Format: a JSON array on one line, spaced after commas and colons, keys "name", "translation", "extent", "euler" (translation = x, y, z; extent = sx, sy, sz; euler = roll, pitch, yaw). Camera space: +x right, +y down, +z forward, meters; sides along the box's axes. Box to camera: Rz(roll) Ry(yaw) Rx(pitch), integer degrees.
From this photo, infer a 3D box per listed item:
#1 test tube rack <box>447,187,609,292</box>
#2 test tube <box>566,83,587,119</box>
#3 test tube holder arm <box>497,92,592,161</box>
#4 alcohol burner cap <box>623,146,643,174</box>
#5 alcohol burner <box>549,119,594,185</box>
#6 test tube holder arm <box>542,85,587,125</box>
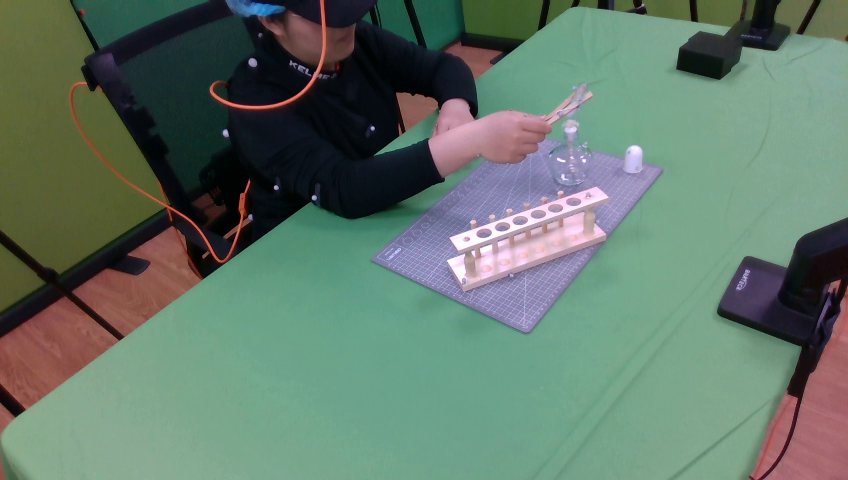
[{"name": "test tube rack", "translation": [0.155, -0.011, 0.913], "extent": [0.243, 0.085, 0.066], "euler": [-19, 41, -11]}, {"name": "test tube", "translation": [0.247, -0.224, 0.984], "extent": [0.017, 0.150, 0.017], "euler": [0, 85, 6]}, {"name": "test tube holder arm", "translation": [0.193, -0.182, 0.977], "extent": [0.178, 0.015, 0.013], "euler": [-36, 78, 10]}, {"name": "alcohol burner cap", "translation": [0.369, -0.142, 1.062], "extent": [0.034, 0.048, 0.033], "euler": [-7, 41, 6]}, {"name": "alcohol burner", "translation": [0.254, -0.155, 1.043], "extent": [0.078, 0.120, 0.077], "euler": [-7, 40, 6]}, {"name": "test tube holder arm", "translation": [0.224, -0.214, 0.970], "extent": [0.088, 0.015, 0.010], "euler": [-43, 77, 9]}]
